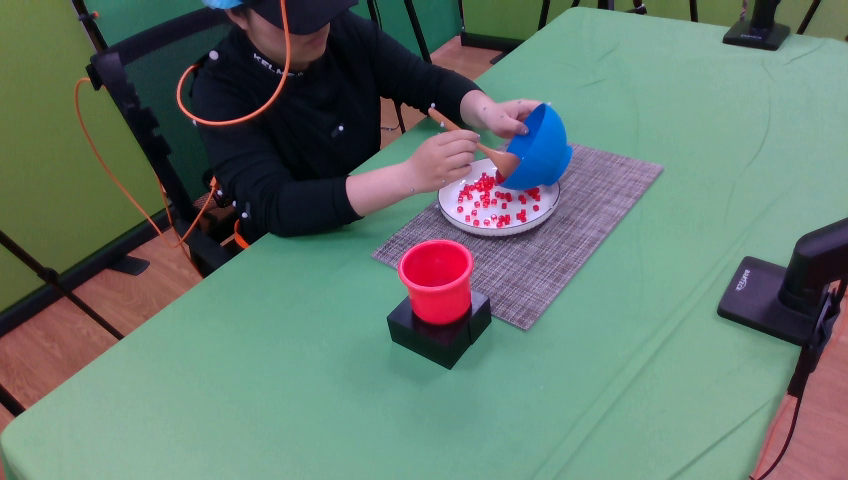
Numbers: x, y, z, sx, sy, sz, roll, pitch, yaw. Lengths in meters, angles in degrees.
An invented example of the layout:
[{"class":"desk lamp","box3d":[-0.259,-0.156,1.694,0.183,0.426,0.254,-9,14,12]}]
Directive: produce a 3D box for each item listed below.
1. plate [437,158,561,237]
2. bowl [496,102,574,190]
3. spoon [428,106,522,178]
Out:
[{"class":"plate","box3d":[0.127,-0.069,1.023,0.207,0.039,0.206,-5,40,5]},{"class":"bowl","box3d":[0.188,-0.138,0.978,0.077,0.151,0.151,28,43,-9]},{"class":"spoon","box3d":[0.083,-0.151,0.944,0.041,0.195,0.021,-61,21,0]}]
